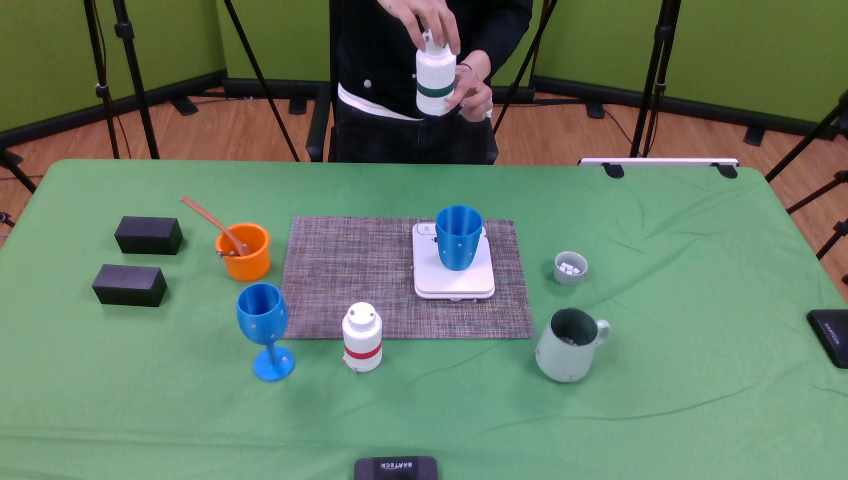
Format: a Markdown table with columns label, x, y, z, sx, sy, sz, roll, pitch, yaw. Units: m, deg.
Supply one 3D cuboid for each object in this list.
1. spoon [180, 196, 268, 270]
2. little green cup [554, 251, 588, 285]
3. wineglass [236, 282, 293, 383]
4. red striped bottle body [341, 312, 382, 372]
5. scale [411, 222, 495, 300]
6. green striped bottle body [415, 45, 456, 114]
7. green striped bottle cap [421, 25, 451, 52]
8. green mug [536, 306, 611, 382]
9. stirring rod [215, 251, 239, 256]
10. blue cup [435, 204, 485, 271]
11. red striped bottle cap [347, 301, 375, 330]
| label | x | y | z | sx | sy | sz | roll | pitch | yaw |
| --- | --- | --- | --- | --- | --- | --- | --- | --- | --- |
| spoon | -0.360 | -0.014 | 1.094 | 0.021 | 0.194 | 0.041 | -28 | 26 | 31 |
| little green cup | 0.277 | 0.055 | 1.151 | 0.061 | 0.039 | 0.061 | 1 | 46 | -1 |
| wineglass | -0.243 | 0.143 | 0.934 | 0.074 | 0.173 | 0.073 | 2 | 46 | -2 |
| red striped bottle body | -0.100 | 0.154 | 0.972 | 0.063 | 0.120 | 0.062 | 2 | 46 | -1 |
| scale | 0.052 | 0.031 | 1.158 | 0.149 | 0.032 | 0.199 | 1 | 46 | -4 |
| green striped bottle body | 0.018 | -0.266 | 0.962 | 0.063 | 0.120 | 0.063 | 1 | 51 | -1 |
| green striped bottle cap | 0.018 | -0.304 | 0.916 | 0.044 | 0.020 | 0.044 | -6 | 51 | 8 |
| green mug | 0.250 | 0.167 | 0.996 | 0.125 | 0.105 | 0.092 | -15 | 48 | -18 |
| stirring rod | -0.339 | 0.024 | 1.059 | 0.014 | 0.176 | 0.006 | 16 | 86 | -6 |
| blue cup | 0.061 | 0.001 | 1.097 | 0.092 | 0.101 | 0.092 | 1 | 44 | 0 |
| red striped bottle cap | -0.097 | 0.116 | 0.934 | 0.044 | 0.018 | 0.044 | 3 | 49 | -3 |
